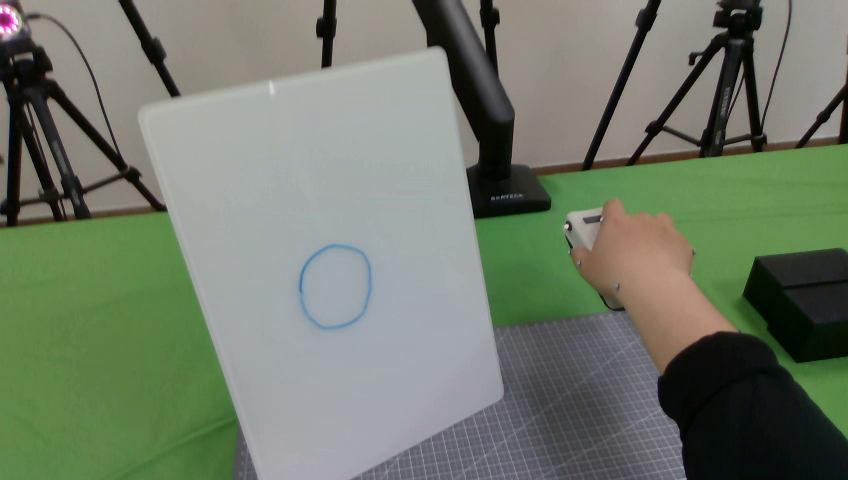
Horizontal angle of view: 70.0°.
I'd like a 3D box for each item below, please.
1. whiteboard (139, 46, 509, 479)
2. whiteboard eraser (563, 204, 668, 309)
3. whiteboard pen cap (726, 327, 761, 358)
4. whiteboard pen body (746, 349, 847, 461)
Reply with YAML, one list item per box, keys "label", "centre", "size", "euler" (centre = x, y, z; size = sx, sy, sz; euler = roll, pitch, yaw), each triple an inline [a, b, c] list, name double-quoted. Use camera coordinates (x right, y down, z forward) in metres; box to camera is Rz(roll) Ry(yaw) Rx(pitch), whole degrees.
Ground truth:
- label: "whiteboard"
  centre: [-0.078, 0.020, 0.503]
  size: [0.218, 0.307, 0.142]
  euler: [-20, 19, -24]
- label: "whiteboard eraser"
  centre: [0.182, 0.015, 0.585]
  size: [0.056, 0.042, 0.111]
  euler: [-13, 47, -9]
- label: "whiteboard pen cap"
  centre: [0.307, 0.100, 0.579]
  size: [0.018, 0.018, 0.033]
  euler: [-8, 33, -10]
- label: "whiteboard pen body"
  centre: [0.318, 0.133, 0.532]
  size: [0.017, 0.017, 0.139]
  euler: [-7, 34, -9]
